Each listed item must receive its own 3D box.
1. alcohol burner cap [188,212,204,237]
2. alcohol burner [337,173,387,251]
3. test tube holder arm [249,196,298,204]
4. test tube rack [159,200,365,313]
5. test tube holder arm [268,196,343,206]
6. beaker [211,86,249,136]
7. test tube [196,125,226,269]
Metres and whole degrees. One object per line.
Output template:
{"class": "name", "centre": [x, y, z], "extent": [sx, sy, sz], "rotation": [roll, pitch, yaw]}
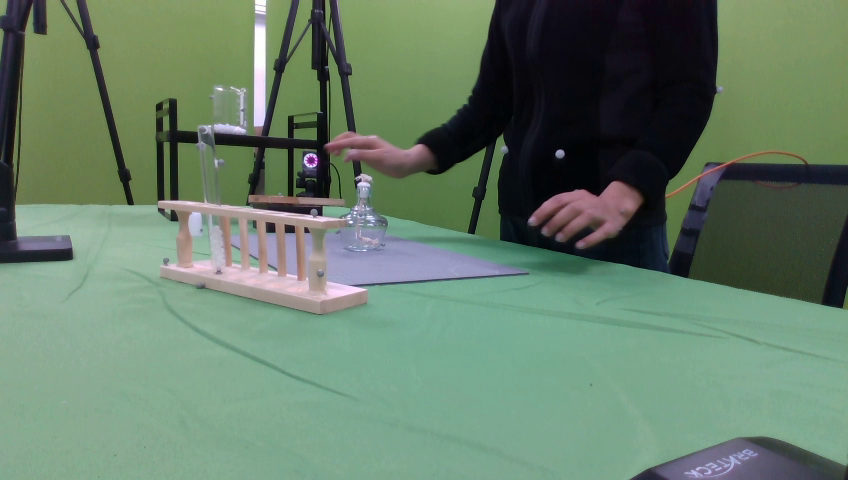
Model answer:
{"class": "alcohol burner cap", "centre": [-0.389, -0.029, 1.026], "extent": [0.034, 0.048, 0.034], "rotation": [3, 8, 0]}
{"class": "alcohol burner", "centre": [-0.095, -0.043, 0.926], "extent": [0.078, 0.119, 0.078], "rotation": [3, 6, 0]}
{"class": "test tube holder arm", "centre": [-0.281, -0.074, 1.129], "extent": [0.088, 0.015, 0.010], "rotation": [1, 8, -22]}
{"class": "test tube rack", "centre": [-0.173, 0.009, 0.624], "extent": [0.241, 0.085, 0.067], "rotation": [7, 9, 34]}
{"class": "test tube holder arm", "centre": [-0.241, -0.075, 1.152], "extent": [0.179, 0.015, 0.013], "rotation": [0, 8, -24]}
{"class": "beaker", "centre": [-0.413, -0.274, 1.297], "extent": [0.074, 0.100, 0.083], "rotation": [-5, 11, -44]}
{"class": "test tube", "centre": [-0.221, -0.043, 0.629], "extent": [0.017, 0.150, 0.017], "rotation": [-3, 8, 1]}
